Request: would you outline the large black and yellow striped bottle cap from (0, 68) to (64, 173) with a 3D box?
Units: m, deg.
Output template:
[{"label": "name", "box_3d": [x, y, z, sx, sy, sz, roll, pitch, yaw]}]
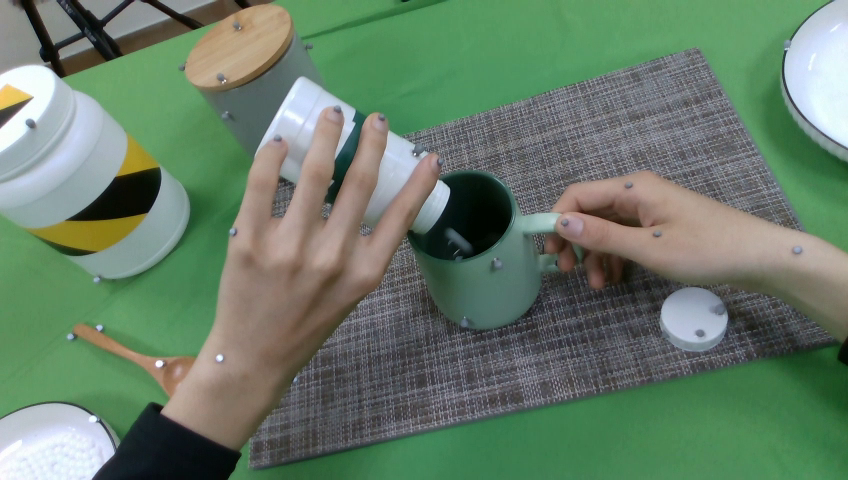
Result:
[{"label": "large black and yellow striped bottle cap", "box_3d": [-0.357, -0.099, 0.510, 0.115, 0.019, 0.114, -8, 55, 13]}]

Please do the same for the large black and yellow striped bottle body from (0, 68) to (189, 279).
[{"label": "large black and yellow striped bottle body", "box_3d": [-0.333, -0.058, 0.578, 0.130, 0.186, 0.129, -8, 57, 14]}]

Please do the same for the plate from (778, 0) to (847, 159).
[{"label": "plate", "box_3d": [0.389, -0.126, 0.469, 0.207, 0.039, 0.205, -9, 57, 14]}]

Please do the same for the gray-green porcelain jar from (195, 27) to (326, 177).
[{"label": "gray-green porcelain jar", "box_3d": [-0.150, -0.134, 0.598, 0.105, 0.128, 0.105, -9, 52, 13]}]

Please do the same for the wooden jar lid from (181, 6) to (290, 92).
[{"label": "wooden jar lid", "box_3d": [-0.167, -0.170, 0.549, 0.108, 0.021, 0.107, -11, 55, 16]}]

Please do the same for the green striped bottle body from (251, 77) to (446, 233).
[{"label": "green striped bottle body", "box_3d": [-0.045, -0.049, 0.396, 0.120, 0.063, 0.063, 29, 64, -16]}]

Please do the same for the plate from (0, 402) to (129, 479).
[{"label": "plate", "box_3d": [-0.322, 0.235, 0.480, 0.209, 0.038, 0.207, -8, 56, 13]}]

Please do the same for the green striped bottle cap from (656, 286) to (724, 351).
[{"label": "green striped bottle cap", "box_3d": [0.189, 0.055, 0.432, 0.044, 0.020, 0.044, -9, 51, 12]}]

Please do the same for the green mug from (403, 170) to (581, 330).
[{"label": "green mug", "box_3d": [0.053, 0.007, 0.452, 0.125, 0.106, 0.091, -7, 57, 14]}]

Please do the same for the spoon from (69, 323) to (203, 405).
[{"label": "spoon", "box_3d": [-0.268, 0.104, 0.553, 0.192, 0.022, 0.041, 15, 84, 25]}]
